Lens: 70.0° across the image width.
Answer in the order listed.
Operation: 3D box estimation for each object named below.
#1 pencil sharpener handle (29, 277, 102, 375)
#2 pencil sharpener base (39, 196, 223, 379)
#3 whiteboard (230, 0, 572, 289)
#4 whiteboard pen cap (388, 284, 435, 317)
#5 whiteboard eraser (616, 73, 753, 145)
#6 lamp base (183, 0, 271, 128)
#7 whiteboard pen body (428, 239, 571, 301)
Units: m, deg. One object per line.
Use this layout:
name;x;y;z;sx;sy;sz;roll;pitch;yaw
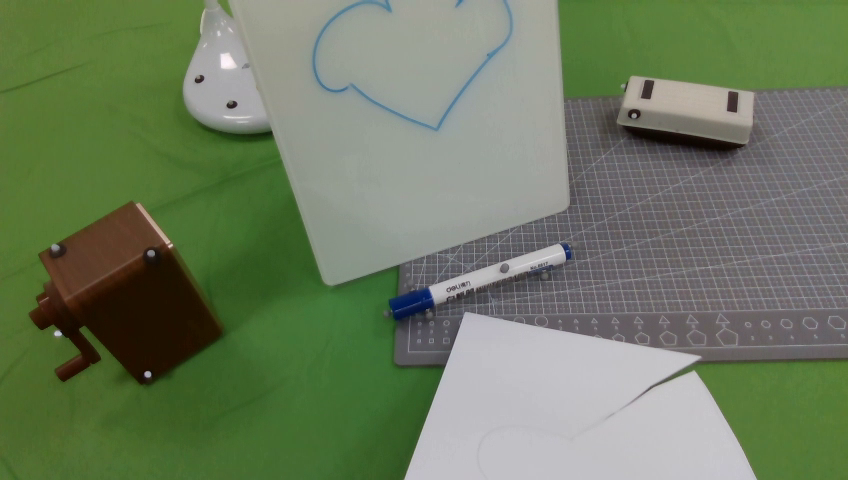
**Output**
pencil sharpener handle;-0.237;0.058;0.390;0.030;0.068;0.035;-36;43;-22
pencil sharpener base;-0.200;0.037;0.421;0.076;0.108;0.061;-36;57;-22
whiteboard;-0.022;-0.153;0.472;0.217;0.308;0.142;-18;32;-9
whiteboard pen cap;-0.009;0.045;0.451;0.033;0.018;0.018;-19;51;-9
whiteboard eraser;0.236;-0.119;0.553;0.112;0.042;0.055;13;54;15
lamp base;-0.189;-0.228;0.591;0.177;0.182;0.160;33;60;30
whiteboard pen body;0.046;0.026;0.460;0.141;0.017;0.017;-18;51;-9
